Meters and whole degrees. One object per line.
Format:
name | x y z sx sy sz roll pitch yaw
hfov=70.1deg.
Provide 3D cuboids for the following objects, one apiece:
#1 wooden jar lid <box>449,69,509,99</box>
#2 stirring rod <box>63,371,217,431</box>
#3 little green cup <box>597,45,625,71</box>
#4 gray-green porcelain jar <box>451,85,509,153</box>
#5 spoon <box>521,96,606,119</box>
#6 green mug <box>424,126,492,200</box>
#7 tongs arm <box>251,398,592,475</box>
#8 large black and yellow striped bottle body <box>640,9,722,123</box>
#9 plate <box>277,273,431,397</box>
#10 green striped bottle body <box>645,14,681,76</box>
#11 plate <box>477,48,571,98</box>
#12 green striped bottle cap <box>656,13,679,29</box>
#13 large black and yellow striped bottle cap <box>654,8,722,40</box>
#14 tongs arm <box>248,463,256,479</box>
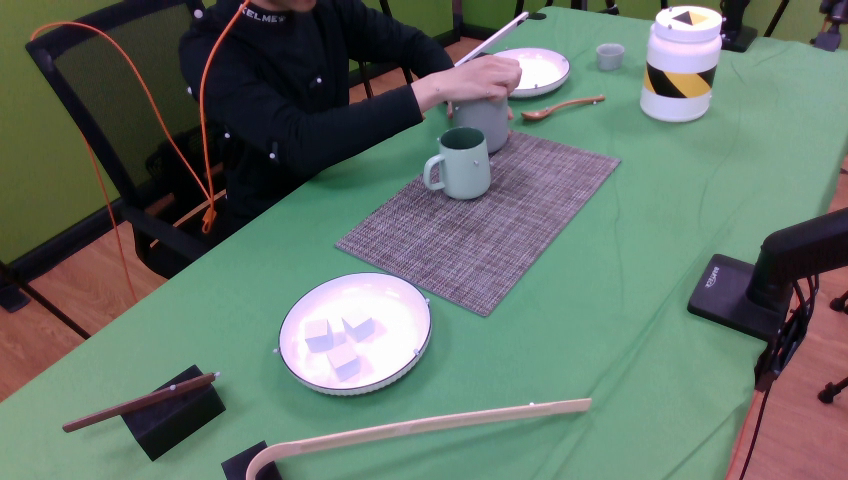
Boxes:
wooden jar lid | 0.101 -0.281 1.100 0.108 0.021 0.108 -6 36 5
stirring rod | -0.337 0.192 0.723 0.177 0.014 0.005 -18 43 -12
little green cup | 0.423 -0.413 1.376 0.061 0.039 0.061 -3 41 3
gray-green porcelain jar | 0.107 -0.235 1.142 0.106 0.127 0.105 -4 41 4
spoon | 0.291 -0.276 1.249 0.194 0.022 0.041 -17 24 -11
green mug | 0.055 -0.125 1.039 0.126 0.105 0.091 -26 45 -20
tongs arm | 0.008 0.212 0.675 0.389 0.028 0.028 -5 46 -11
large black and yellow striped bottle body | 0.493 -0.334 1.161 0.131 0.185 0.130 -4 41 4
plate | -0.091 0.129 0.821 0.207 0.039 0.206 -4 40 4
green striped bottle body | 0.520 -0.424 1.312 0.063 0.120 0.063 -4 41 4
plate | 0.223 -0.371 1.357 0.209 0.038 0.208 -4 41 4
green striped bottle cap | 0.515 -0.463 1.278 0.044 0.020 0.044 -6 42 6
large black and yellow striped bottle cap | 0.483 -0.397 1.108 0.115 0.019 0.114 -3 41 3
tongs arm | 0.012 0.262 0.615 0.385 0.026 0.050 2 41 -2
